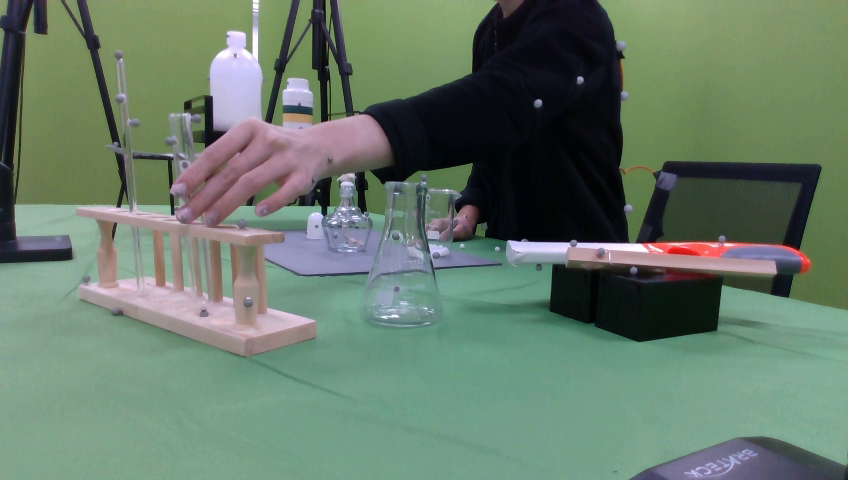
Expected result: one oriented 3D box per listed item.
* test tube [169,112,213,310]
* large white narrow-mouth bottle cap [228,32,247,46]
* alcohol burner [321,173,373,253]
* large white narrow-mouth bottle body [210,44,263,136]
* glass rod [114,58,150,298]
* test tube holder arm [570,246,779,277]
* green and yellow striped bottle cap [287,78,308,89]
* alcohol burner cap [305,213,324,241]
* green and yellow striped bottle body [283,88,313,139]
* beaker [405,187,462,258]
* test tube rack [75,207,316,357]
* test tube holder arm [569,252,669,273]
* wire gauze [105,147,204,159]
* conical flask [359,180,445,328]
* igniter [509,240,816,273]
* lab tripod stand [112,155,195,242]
[{"bbox_3d":[-0.175,-0.020,0.455,0.017,0.150,0.017,-3,9,1],"label":"test tube"},{"bbox_3d":[-0.364,-0.390,1.180,0.038,0.024,0.037,4,8,0],"label":"large white narrow-mouth bottle cap"},{"bbox_3d":[-0.115,-0.040,0.905,0.078,0.119,0.078,0,6,0],"label":"alcohol burner"},{"bbox_3d":[-0.369,-0.305,1.193,0.102,0.194,0.102,4,8,0],"label":"large white narrow-mouth bottle body"},{"bbox_3d":[-0.237,-0.044,0.492,0.008,0.199,0.008,1,15,0],"label":"glass rod"},{"bbox_3d":[0.217,0.020,0.525,0.178,0.015,0.013,3,-24,2],"label":"test tube holder arm"},{"bbox_3d":[-0.265,-0.326,1.268,0.045,0.020,0.045,4,6,0],"label":"green and yellow striped bottle cap"},{"bbox_3d":[-0.185,-0.023,1.027,0.034,0.048,0.034,3,7,0],"label":"alcohol burner cap"},{"bbox_3d":[-0.266,-0.275,1.275,0.063,0.119,0.063,3,7,0],"label":"green and yellow striped bottle body"},{"bbox_3d":[0.013,-0.026,0.892,0.084,0.100,0.074,2,8,-2],"label":"beaker"},{"bbox_3d":[-0.197,0.023,0.499,0.241,0.085,0.067,8,9,36],"label":"test tube rack"},{"bbox_3d":[0.172,0.019,0.532,0.088,0.015,0.010,3,-24,3],"label":"test tube holder arm"},{"bbox_3d":[-0.408,-0.131,0.928,0.125,0.011,0.121,2,6,-11],"label":"wire gauze"},{"bbox_3d":[-0.017,0.010,0.522,0.075,0.122,0.075,2,7,0],"label":"conical flask"},{"bbox_3d":[0.220,0.015,0.565,0.277,0.025,0.057,2,17,0],"label":"igniter"},{"bbox_3d":[-0.405,-0.064,0.931,0.148,0.131,0.148,1,6,0],"label":"lab tripod stand"}]
